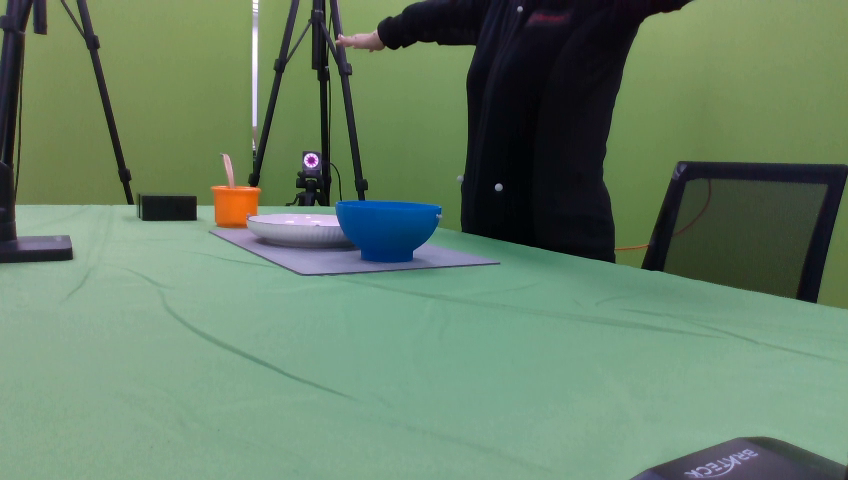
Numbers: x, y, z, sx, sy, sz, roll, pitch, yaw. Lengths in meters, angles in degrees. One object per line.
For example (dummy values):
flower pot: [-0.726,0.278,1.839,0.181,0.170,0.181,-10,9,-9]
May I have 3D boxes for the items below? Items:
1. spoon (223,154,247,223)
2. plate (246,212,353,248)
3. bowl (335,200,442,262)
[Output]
spoon: [-0.381,-0.105,1.202,0.042,0.193,0.021,0,-37,-27]
plate: [-0.185,-0.017,0.995,0.209,0.038,0.209,3,8,0]
bowl: [-0.051,-0.013,0.847,0.151,0.077,0.151,3,7,0]
